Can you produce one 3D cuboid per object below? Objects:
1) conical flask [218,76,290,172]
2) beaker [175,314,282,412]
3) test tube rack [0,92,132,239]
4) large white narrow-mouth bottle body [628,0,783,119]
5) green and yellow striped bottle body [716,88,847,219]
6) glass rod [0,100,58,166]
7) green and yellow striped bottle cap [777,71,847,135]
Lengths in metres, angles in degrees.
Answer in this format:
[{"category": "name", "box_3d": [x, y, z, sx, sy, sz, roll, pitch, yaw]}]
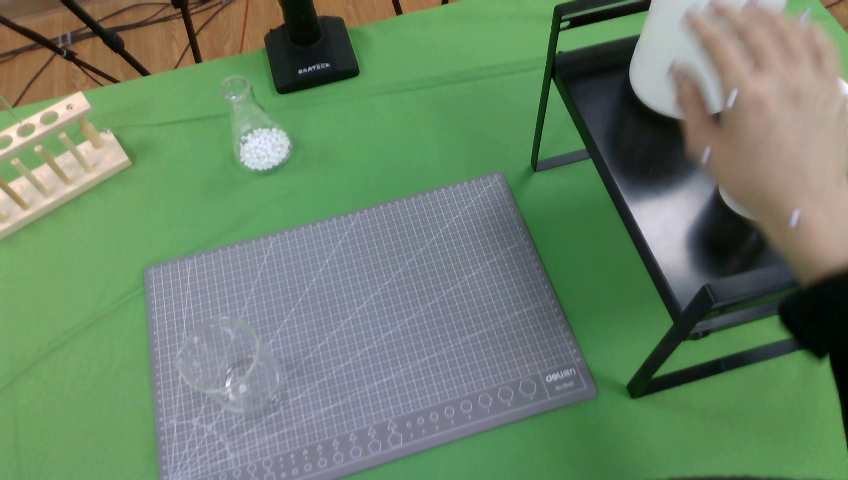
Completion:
[{"category": "conical flask", "box_3d": [-0.216, -0.146, 0.751, 0.075, 0.123, 0.074, -1, 61, 3]}, {"category": "beaker", "box_3d": [-0.191, 0.128, 0.608, 0.084, 0.101, 0.073, -7, 60, 0]}, {"category": "test tube rack", "box_3d": [-0.505, -0.076, 0.748, 0.242, 0.086, 0.066, -35, 65, -15]}, {"category": "large white narrow-mouth bottle body", "box_3d": [0.241, -0.197, 0.507, 0.102, 0.196, 0.101, -2, 62, 4]}, {"category": "green and yellow striped bottle body", "box_3d": [0.283, -0.072, 0.478, 0.063, 0.120, 0.062, -1, 61, 3]}, {"category": "glass rod", "box_3d": [-0.490, -0.150, 0.712, 0.008, 0.201, 0.008, -4, 53, 5]}, {"category": "green and yellow striped bottle cap", "box_3d": [0.280, -0.099, 0.433, 0.045, 0.020, 0.045, -1, 63, 2]}]
